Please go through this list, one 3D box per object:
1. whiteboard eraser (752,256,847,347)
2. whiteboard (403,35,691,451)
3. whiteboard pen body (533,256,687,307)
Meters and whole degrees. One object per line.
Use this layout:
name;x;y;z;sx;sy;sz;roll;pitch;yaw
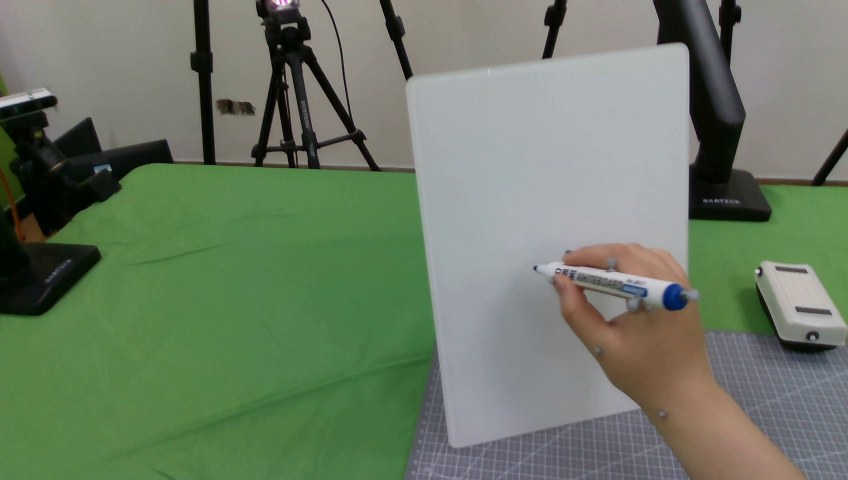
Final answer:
whiteboard eraser;0.369;0.060;0.601;0.055;0.042;0.112;3;32;12
whiteboard;0.098;-0.006;0.537;0.217;0.307;0.143;-9;16;-8
whiteboard pen body;0.111;0.023;0.391;0.017;0.017;0.140;-19;13;-21
